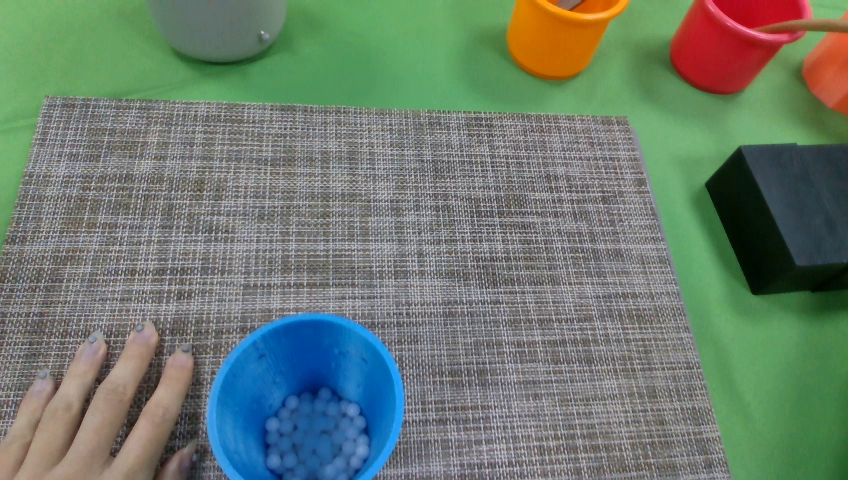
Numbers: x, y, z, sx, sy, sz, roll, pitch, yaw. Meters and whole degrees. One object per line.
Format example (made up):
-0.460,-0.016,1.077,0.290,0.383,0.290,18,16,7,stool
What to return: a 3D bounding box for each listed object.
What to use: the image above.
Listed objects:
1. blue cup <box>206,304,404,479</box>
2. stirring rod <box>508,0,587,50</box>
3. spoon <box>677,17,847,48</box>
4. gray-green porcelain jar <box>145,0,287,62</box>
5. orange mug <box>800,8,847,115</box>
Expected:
-0.056,0.094,0.308,0.093,0.101,0.092,3,61,-5,blue cup
0.144,-0.209,0.487,0.176,0.006,0.014,-31,66,23,stirring rod
0.289,-0.168,0.485,0.041,0.022,0.192,-27,25,-22,spoon
-0.156,-0.205,0.443,0.106,0.127,0.105,4,61,-7,gray-green porcelain jar
0.405,-0.157,0.523,0.084,0.101,0.125,-2,58,-10,orange mug
